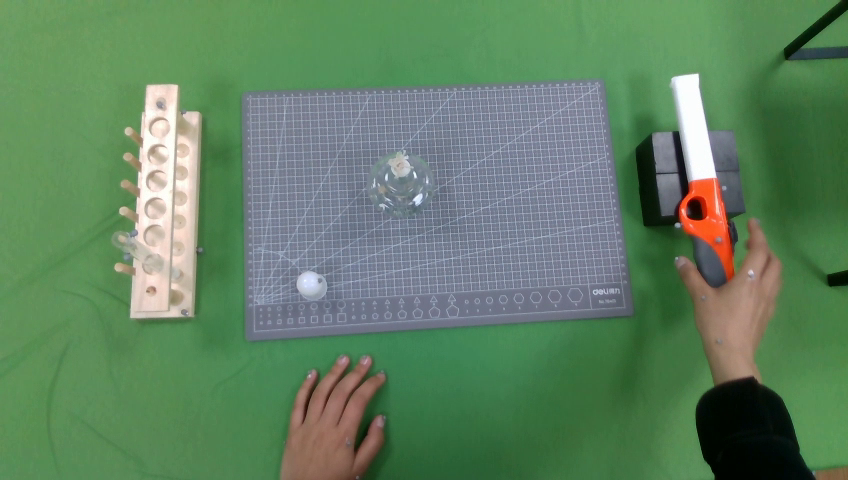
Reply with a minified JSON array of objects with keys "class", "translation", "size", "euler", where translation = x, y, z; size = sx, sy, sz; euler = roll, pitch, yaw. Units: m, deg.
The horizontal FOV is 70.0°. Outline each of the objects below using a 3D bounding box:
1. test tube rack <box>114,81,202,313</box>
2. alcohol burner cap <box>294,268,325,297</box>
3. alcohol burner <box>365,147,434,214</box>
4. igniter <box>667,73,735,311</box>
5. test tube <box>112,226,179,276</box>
[{"class":"test tube rack","translation":[-0.295,-0.044,0.666],"size":[0.067,0.085,0.241],"euler":[-1,80,-3]},{"class":"alcohol burner cap","translation":[-0.130,0.045,0.679],"size":[0.034,0.048,0.033],"euler":[1,79,-4]},{"class":"alcohol burner","translation":[-0.027,-0.070,0.670],"size":[0.078,0.119,0.077],"euler":[0,80,-2]},{"class":"igniter","translation":[0.313,-0.058,0.688],"size":[0.057,0.025,0.275],"euler":[-6,79,8]},{"class":"test tube","translation":[-0.275,0.014,0.607],"size":[0.017,0.151,0.017],"euler":[1,75,-4]}]
